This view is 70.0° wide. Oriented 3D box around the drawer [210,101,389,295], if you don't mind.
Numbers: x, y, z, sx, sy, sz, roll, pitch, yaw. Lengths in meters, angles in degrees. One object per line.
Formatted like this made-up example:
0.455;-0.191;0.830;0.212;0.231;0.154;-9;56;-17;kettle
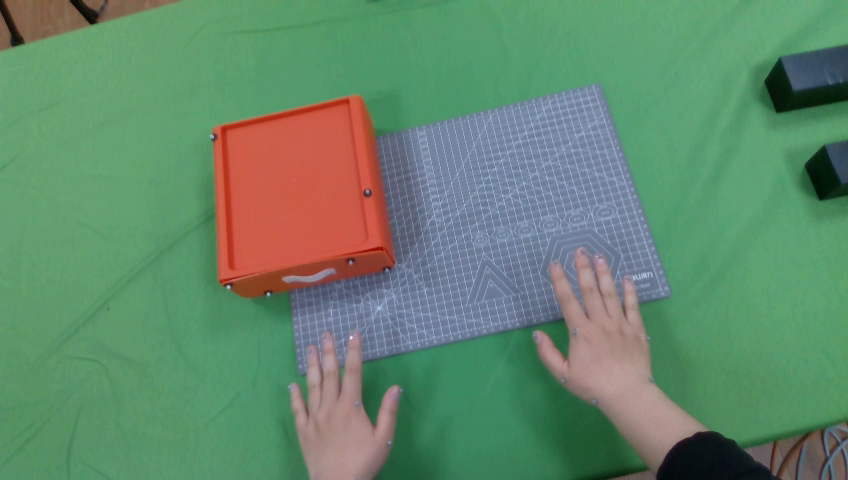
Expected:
-0.158;-0.053;0.756;0.194;0.074;0.210;-12;69;5;drawer

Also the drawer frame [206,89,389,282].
-0.160;-0.058;0.757;0.201;0.083;0.212;-13;69;5;drawer frame

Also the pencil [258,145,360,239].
-0.150;-0.063;0.786;0.193;0.012;0.012;41;81;16;pencil
